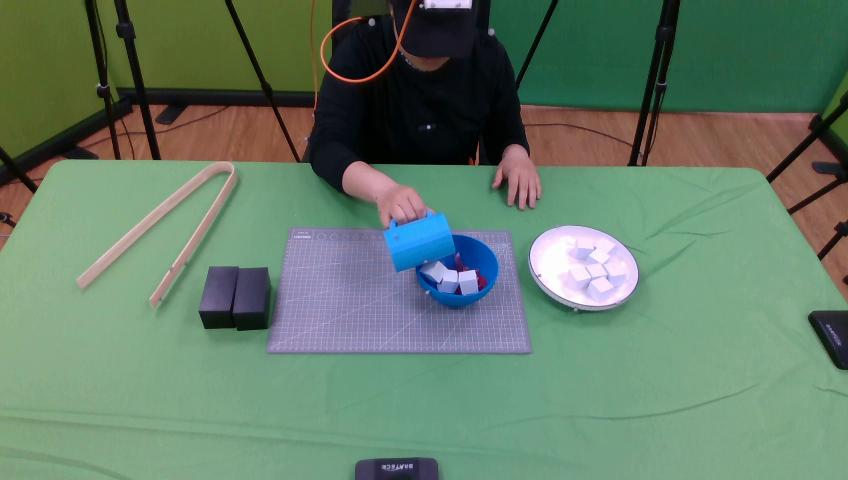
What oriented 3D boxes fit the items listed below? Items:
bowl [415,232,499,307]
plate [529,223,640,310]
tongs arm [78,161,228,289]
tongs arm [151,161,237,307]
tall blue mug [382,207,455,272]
[{"bbox_3d":[0.057,0.067,1.093,0.151,0.077,0.150,2,46,-2],"label":"bowl"},{"bbox_3d":[0.303,0.053,1.156,0.209,0.038,0.208,2,46,-1],"label":"plate"},{"bbox_3d":[-0.524,-0.043,1.196,0.028,0.028,0.386,15,47,22],"label":"tongs arm"},{"bbox_3d":[-0.447,-0.026,1.180,0.051,0.027,0.383,8,46,10],"label":"tongs arm"},{"bbox_3d":[-0.014,-0.011,1.047,0.108,0.078,0.107,-19,79,-3],"label":"tall blue mug"}]
